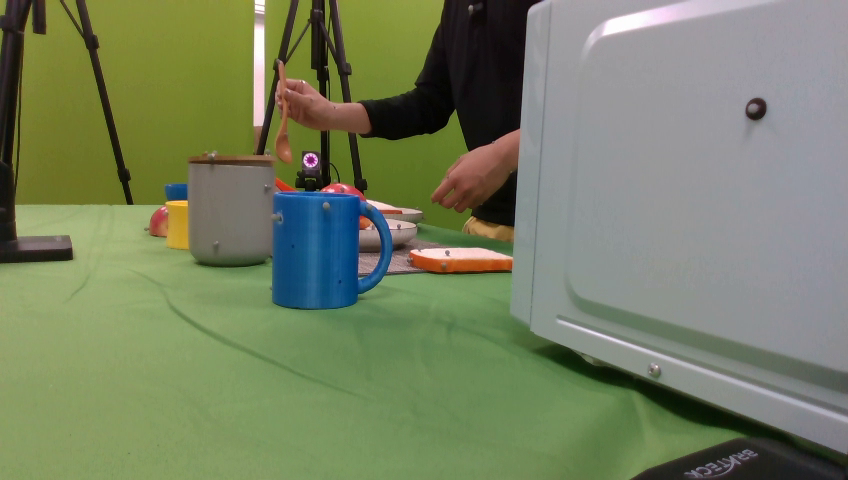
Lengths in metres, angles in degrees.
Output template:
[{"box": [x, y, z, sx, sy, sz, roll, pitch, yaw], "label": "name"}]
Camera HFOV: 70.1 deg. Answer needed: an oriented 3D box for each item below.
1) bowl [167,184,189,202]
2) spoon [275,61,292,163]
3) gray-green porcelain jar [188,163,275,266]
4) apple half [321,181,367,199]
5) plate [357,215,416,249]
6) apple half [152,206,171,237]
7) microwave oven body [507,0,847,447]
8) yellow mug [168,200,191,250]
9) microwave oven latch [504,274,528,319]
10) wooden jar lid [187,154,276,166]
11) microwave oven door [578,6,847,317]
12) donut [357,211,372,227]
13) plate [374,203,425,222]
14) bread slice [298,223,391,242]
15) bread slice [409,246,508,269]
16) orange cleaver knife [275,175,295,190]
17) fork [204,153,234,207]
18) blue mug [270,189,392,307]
[{"box": [-0.408, -0.064, 1.154, 0.151, 0.077, 0.151, 2, 8, 0], "label": "bowl"}, {"box": [-0.260, -0.238, 1.121, 0.021, 0.193, 0.042, -2, -4, 29], "label": "spoon"}, {"box": [-0.246, -0.034, 0.780, 0.106, 0.126, 0.106, 1, 7, 0], "label": "gray-green porcelain jar"}, {"box": [-0.128, -0.076, 0.950, 0.081, 0.033, 0.081, 2, 14, 0], "label": "apple half"}, {"box": [-0.116, -0.014, 0.967, 0.208, 0.039, 0.207, 2, 7, 0], "label": "plate"}, {"box": [-0.415, -0.034, 1.017, 0.081, 0.053, 0.074, 1, 10, -9], "label": "apple half"}, {"box": [0.331, -0.042, 0.425, 0.444, 0.260, 0.324, -2, 8, -31], "label": "microwave oven body"}, {"box": [-0.320, -0.023, 0.904, 0.130, 0.064, 0.100, 8, 10, 36], "label": "yellow mug"}, {"box": [0.100, 0.041, 0.470, 0.079, 0.029, 0.030, -1, 7, -27], "label": "microwave oven latch"}, {"box": [-0.244, -0.097, 0.771, 0.108, 0.020, 0.108, -1, 7, 0], "label": "wooden jar lid"}, {"box": [0.294, -0.067, 0.570, 0.358, 0.243, 0.039, -3, 9, -31], "label": "microwave oven door"}, {"box": [-0.129, -0.041, 0.957, 0.099, 0.048, 0.099, 3, 8, 0], "label": "donut"}, {"box": [-0.102, -0.053, 1.299, 0.209, 0.038, 0.209, 2, 8, 0], "label": "plate"}, {"box": [-0.121, -0.014, 0.971, 0.106, 0.018, 0.135, 10, 11, 42], "label": "bread slice"}, {"box": [0.048, 0.022, 0.816, 0.132, 0.019, 0.104, 0, 7, -24], "label": "bread slice"}, {"box": [-0.283, -0.087, 1.343, 0.212, 0.077, 0.012, 24, -16, -41], "label": "orange cleaver knife"}, {"box": [-0.480, -0.134, 1.411, 0.028, 0.018, 0.207, 1, -35, 0], "label": "fork"}, {"box": [-0.090, 0.005, 0.588, 0.117, 0.106, 0.082, 1, 7, -11], "label": "blue mug"}]
